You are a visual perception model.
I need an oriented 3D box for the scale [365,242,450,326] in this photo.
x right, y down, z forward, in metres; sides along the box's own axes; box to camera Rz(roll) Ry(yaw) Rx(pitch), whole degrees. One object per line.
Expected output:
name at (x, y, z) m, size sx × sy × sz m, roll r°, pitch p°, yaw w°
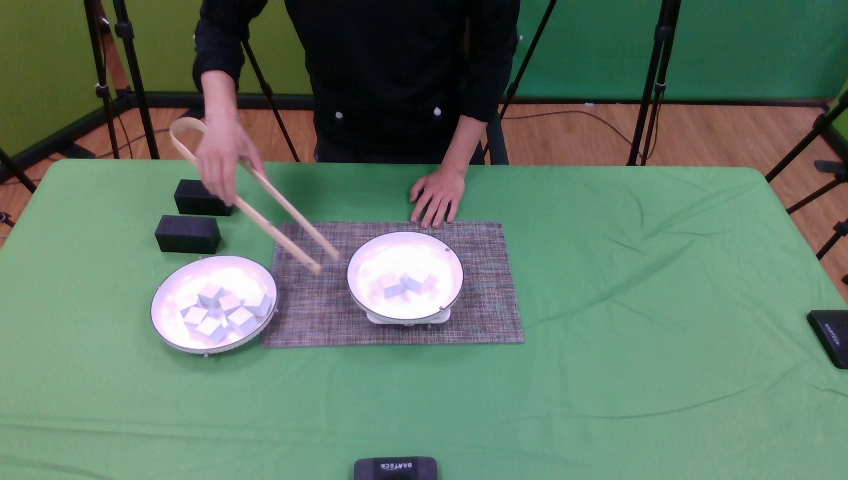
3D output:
scale at (-0.032, 0.071, 1.113) m, size 0.149 × 0.032 × 0.199 m, roll 0°, pitch 46°, yaw -4°

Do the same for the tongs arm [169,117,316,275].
tongs arm at (-0.309, -0.080, 1.034) m, size 0.384 × 0.026 × 0.050 m, roll 39°, pitch 60°, yaw 11°

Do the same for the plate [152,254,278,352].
plate at (-0.357, 0.111, 1.052) m, size 0.208 × 0.039 × 0.206 m, roll 2°, pitch 46°, yaw -2°

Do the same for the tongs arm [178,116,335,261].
tongs arm at (-0.291, -0.095, 1.047) m, size 0.386 × 0.028 × 0.028 m, roll 42°, pitch 64°, yaw 13°

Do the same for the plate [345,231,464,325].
plate at (-0.034, 0.069, 1.069) m, size 0.209 × 0.038 × 0.208 m, roll 2°, pitch 46°, yaw -2°
